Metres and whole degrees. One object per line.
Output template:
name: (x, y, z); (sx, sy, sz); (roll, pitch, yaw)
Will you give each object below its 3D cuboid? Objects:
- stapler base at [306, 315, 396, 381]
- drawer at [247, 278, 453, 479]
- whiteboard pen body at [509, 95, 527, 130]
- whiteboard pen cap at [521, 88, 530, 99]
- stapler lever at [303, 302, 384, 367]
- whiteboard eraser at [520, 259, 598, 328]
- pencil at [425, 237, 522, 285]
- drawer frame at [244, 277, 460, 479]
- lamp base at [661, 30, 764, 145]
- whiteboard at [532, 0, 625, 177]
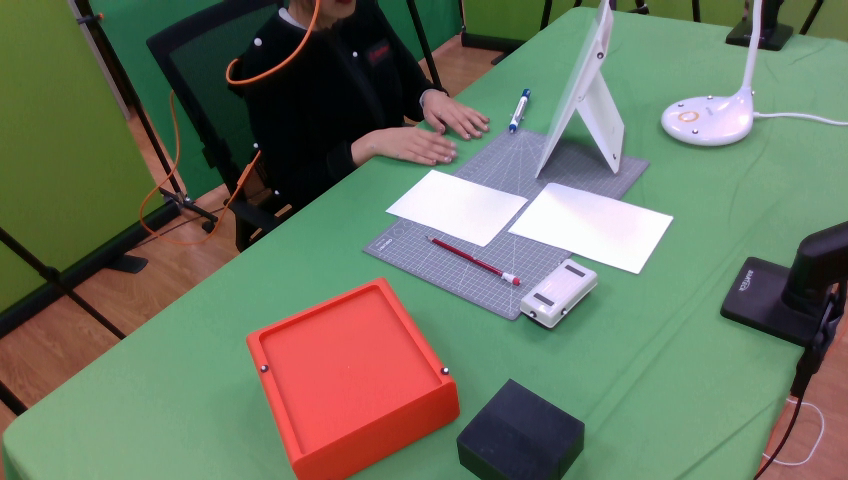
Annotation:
stapler base: (-0.101, 0.139, 0.819); (0.131, 0.024, 0.041); (-31, 37, -13)
drawer: (-0.096, 0.167, 0.758); (0.195, 0.073, 0.210); (-22, 43, -16)
whiteboard pen body: (0.199, -0.273, 1.261); (0.017, 0.017, 0.140); (8, 44, 19)
whiteboard pen cap: (0.218, -0.312, 1.301); (0.018, 0.018, 0.033); (6, 46, 18)
stapler lever: (-0.108, 0.124, 0.806); (0.118, 0.040, 0.026); (-27, 36, -15)
whiteboard eraser: (0.189, 0.076, 0.843); (0.055, 0.042, 0.113); (29, 53, 37)
pencil: (0.071, 0.029, 0.941); (0.192, 0.012, 0.012); (26, 51, 37)
drawer frame: (-0.093, 0.167, 0.755); (0.202, 0.083, 0.211); (-23, 43, -17)
lamp base: (0.535, -0.287, 1.096); (0.179, 0.181, 0.159); (-10, 40, -4)
whiteboard: (0.321, -0.258, 1.050); (0.144, 0.306, 0.217); (21, 45, 5)
